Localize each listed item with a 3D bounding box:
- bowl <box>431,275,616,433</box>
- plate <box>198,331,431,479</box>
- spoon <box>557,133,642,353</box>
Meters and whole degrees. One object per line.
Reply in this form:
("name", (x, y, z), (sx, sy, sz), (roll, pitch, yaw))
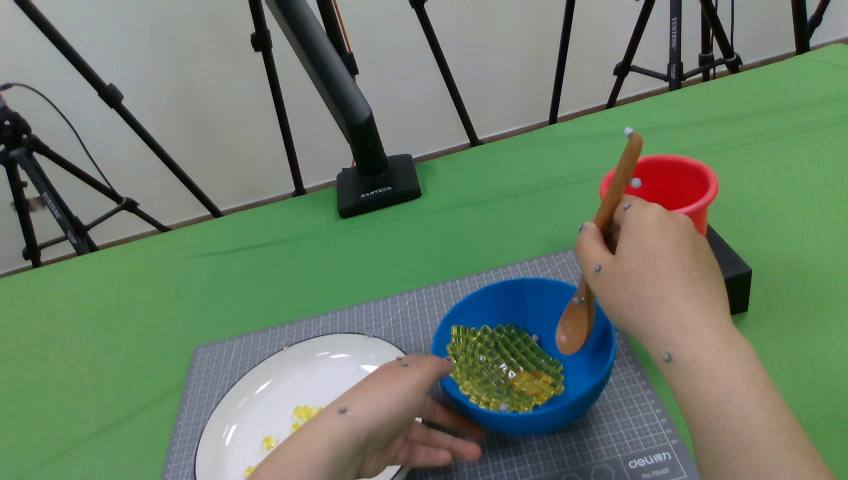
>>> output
("bowl", (0.087, 0.108, 0.513), (0.151, 0.077, 0.150), (-10, 36, 8))
("plate", (-0.092, 0.168, 0.538), (0.207, 0.039, 0.205), (-11, 36, 8))
("spoon", (0.122, 0.011, 0.432), (0.021, 0.195, 0.041), (-1, 40, -4))
